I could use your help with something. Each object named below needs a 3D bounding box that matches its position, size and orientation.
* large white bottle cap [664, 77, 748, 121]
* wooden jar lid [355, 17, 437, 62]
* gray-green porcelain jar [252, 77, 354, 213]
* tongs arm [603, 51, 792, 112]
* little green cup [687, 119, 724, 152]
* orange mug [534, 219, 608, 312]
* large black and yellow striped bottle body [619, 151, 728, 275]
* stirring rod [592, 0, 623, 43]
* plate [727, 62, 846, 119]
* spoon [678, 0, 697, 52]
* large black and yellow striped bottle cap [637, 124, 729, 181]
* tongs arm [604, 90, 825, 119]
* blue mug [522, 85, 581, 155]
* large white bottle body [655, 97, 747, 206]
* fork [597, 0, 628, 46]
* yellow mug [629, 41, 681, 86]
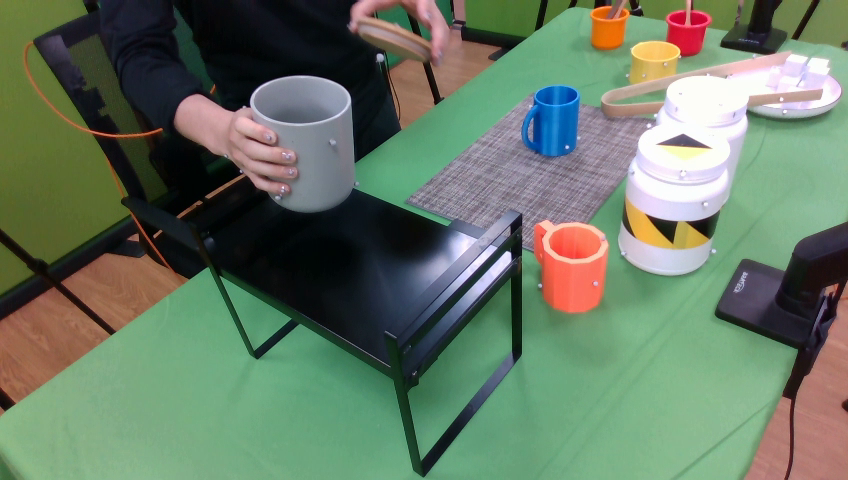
[{"bbox_3d":[0.421,-0.212,0.905,0.115,0.018,0.114,-4,40,4],"label":"large white bottle cap"},{"bbox_3d":[-0.038,-0.254,0.773,0.108,0.020,0.108,20,7,-2],"label":"wooden jar lid"},{"bbox_3d":[-0.133,-0.103,0.686,0.106,0.127,0.105,2,42,-2],"label":"gray-green porcelain jar"},{"bbox_3d":[0.552,-0.320,1.224,0.384,0.027,0.050,-11,44,7],"label":"tongs arm"},{"bbox_3d":[0.514,-0.191,1.109,0.061,0.039,0.061,-5,40,5],"label":"little green cup"},{"bbox_3d":[0.200,0.027,0.858,0.084,0.101,0.125,-24,47,-18],"label":"orange mug"},{"bbox_3d":[0.354,-0.056,0.865,0.131,0.185,0.130,-4,41,4],"label":"large black and yellow striped bottle body"},{"bbox_3d":[0.460,-0.557,1.461,0.014,0.176,0.006,35,11,22],"label":"stirring rod"},{"bbox_3d":[0.710,-0.292,1.198,0.207,0.039,0.206,-4,40,4],"label":"plate"},{"bbox_3d":[0.614,-0.526,1.402,0.041,0.022,0.193,3,86,11],"label":"spoon"},{"bbox_3d":[0.346,-0.119,0.810,0.115,0.019,0.114,-5,41,5],"label":"large black and yellow striped bottle cap"},{"bbox_3d":[0.546,-0.262,1.163,0.386,0.028,0.028,-1,49,18],"label":"tongs arm"},{"bbox_3d":[0.233,-0.218,1.127,0.117,0.106,0.081,-23,43,-16],"label":"blue mug"},{"bbox_3d":[0.430,-0.148,0.959,0.130,0.185,0.130,-4,41,4],"label":"large white bottle body"},{"bbox_3d":[0.479,-0.558,1.455,0.028,0.019,0.207,35,100,38],"label":"fork"},{"bbox_3d":[0.495,-0.389,1.321,0.100,0.064,0.130,-14,40,-6],"label":"yellow mug"}]
